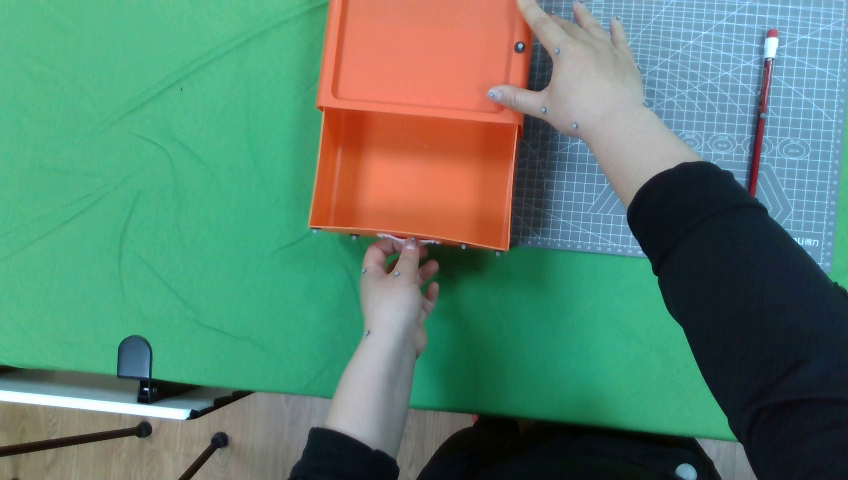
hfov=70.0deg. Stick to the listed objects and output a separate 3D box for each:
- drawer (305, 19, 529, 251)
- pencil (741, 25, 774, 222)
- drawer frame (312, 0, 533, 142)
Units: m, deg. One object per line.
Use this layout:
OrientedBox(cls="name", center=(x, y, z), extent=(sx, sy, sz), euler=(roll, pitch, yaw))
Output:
OrientedBox(cls="drawer", center=(-0.004, -0.099, 0.602), extent=(0.194, 0.073, 0.211), euler=(6, 88, 7))
OrientedBox(cls="pencil", center=(0.326, -0.114, 0.595), extent=(0.012, 0.012, 0.194), euler=(7, 91, 8))
OrientedBox(cls="drawer frame", center=(0.005, -0.217, 0.604), extent=(0.201, 0.083, 0.213), euler=(6, 89, 9))
